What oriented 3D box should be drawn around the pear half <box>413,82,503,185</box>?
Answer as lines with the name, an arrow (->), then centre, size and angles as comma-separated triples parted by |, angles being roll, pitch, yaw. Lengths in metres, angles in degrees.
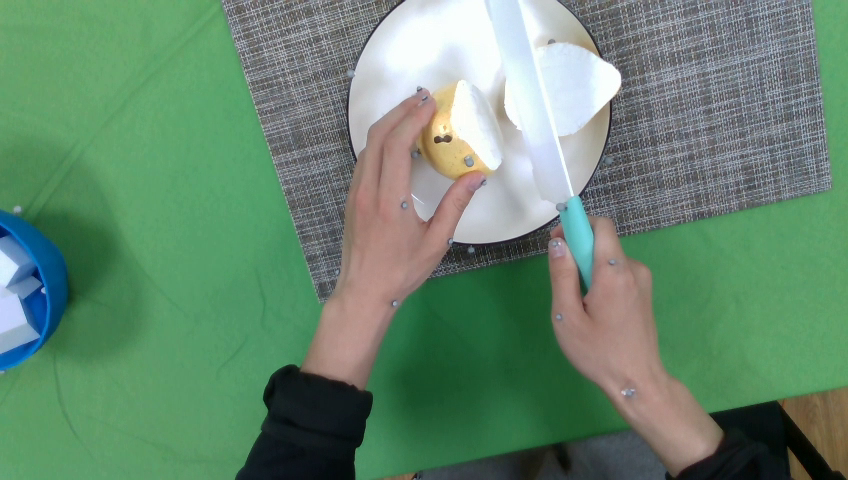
pear half -> 0.016, -0.073, 0.452 | 0.056, 0.110, 0.076 | -27, 91, 25

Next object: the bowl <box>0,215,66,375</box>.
bowl -> -0.386, 0.039, 0.549 | 0.151, 0.076, 0.152 | 1, 104, 5

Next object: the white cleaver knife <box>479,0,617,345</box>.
white cleaver knife -> 0.094, -0.045, 0.445 | 0.021, 0.065, 0.288 | -23, 111, -7

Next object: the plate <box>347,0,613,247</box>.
plate -> 0.043, -0.099, 0.490 | 0.207, 0.039, 0.208 | 1, 105, 6

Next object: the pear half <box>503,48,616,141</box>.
pear half -> 0.106, -0.114, 0.474 | 0.087, 0.031, 0.070 | -2, 102, 23
